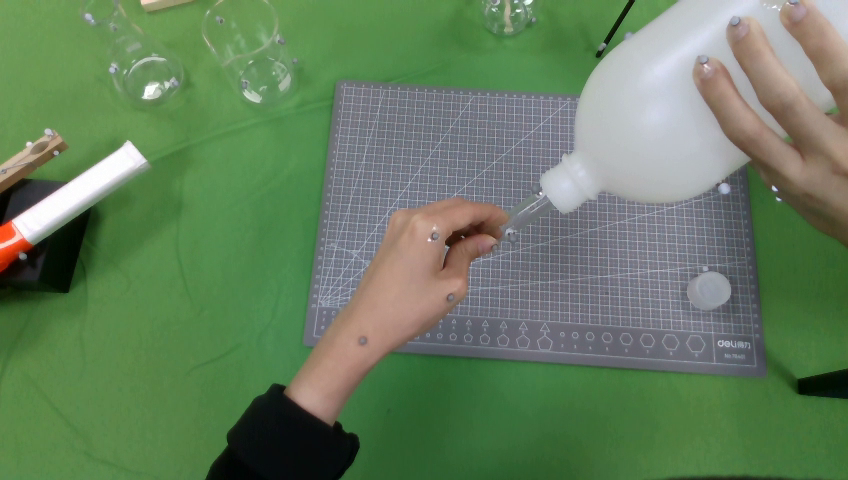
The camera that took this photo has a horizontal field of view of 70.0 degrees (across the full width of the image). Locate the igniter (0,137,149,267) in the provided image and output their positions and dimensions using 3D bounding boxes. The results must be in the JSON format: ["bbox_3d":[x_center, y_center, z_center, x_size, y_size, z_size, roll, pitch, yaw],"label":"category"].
[{"bbox_3d":[-0.383,-0.005,0.559,0.276,0.025,0.057,-40,79,-15],"label":"igniter"}]

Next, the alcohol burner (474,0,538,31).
[{"bbox_3d":[0.092,-0.286,0.658,0.078,0.120,0.077,1,70,-2],"label":"alcohol burner"}]

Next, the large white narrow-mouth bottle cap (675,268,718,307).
[{"bbox_3d":[0.270,0.047,0.601,0.038,0.024,0.037,0,74,0],"label":"large white narrow-mouth bottle cap"}]

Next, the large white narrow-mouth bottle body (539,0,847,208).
[{"bbox_3d":[0.152,-0.083,0.346,0.195,0.102,0.101,-37,73,22],"label":"large white narrow-mouth bottle body"}]

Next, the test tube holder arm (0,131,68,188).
[{"bbox_3d":[-0.387,-0.074,0.584,0.088,0.015,0.010,-38,76,-12],"label":"test tube holder arm"}]

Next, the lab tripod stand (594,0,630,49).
[{"bbox_3d":[0.261,-0.272,0.645,0.148,0.132,0.147,1,71,-2],"label":"lab tripod stand"}]

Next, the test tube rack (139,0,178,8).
[{"bbox_3d":[-0.221,-0.346,0.688,0.242,0.085,0.066,-16,73,-6],"label":"test tube rack"}]

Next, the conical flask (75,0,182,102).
[{"bbox_3d":[-0.307,-0.203,0.621,0.075,0.122,0.075,0,71,0],"label":"conical flask"}]

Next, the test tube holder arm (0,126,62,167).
[{"bbox_3d":[-0.425,-0.050,0.575,0.178,0.015,0.013,-40,77,-13],"label":"test tube holder arm"}]

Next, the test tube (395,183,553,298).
[{"bbox_3d":[0.032,0.004,0.429,0.150,0.017,0.017,-36,70,32],"label":"test tube"}]

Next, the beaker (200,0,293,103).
[{"bbox_3d":[-0.181,-0.195,0.633,0.074,0.101,0.083,18,73,6],"label":"beaker"}]
